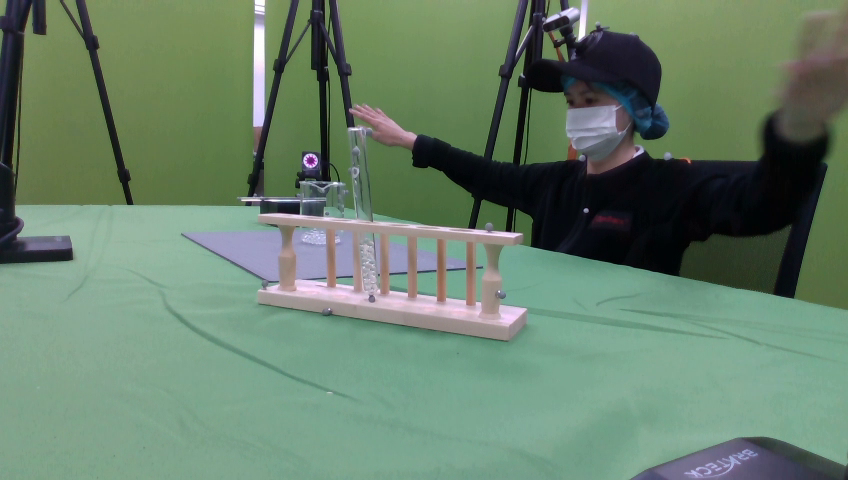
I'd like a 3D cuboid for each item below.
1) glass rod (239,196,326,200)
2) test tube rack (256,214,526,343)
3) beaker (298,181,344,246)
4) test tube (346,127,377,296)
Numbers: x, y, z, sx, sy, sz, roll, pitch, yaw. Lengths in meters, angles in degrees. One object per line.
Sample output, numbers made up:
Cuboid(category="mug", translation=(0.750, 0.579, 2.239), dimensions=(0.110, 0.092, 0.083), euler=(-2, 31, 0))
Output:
Cuboid(category="glass rod", translation=(-0.288, -0.087, 1.250), dimensions=(0.201, 0.008, 0.008), euler=(-4, 10, -42))
Cuboid(category="test tube rack", translation=(-0.032, 0.027, 0.547), dimensions=(0.241, 0.085, 0.067), euler=(6, 7, 22))
Cuboid(category="beaker", translation=(-0.166, -0.043, 0.972), dimensions=(0.074, 0.100, 0.084), euler=(1, 8, -10))
Cuboid(category="test tube", translation=(-0.054, -0.023, 0.529), dimensions=(0.017, 0.150, 0.017), euler=(-3, 12, 1))
